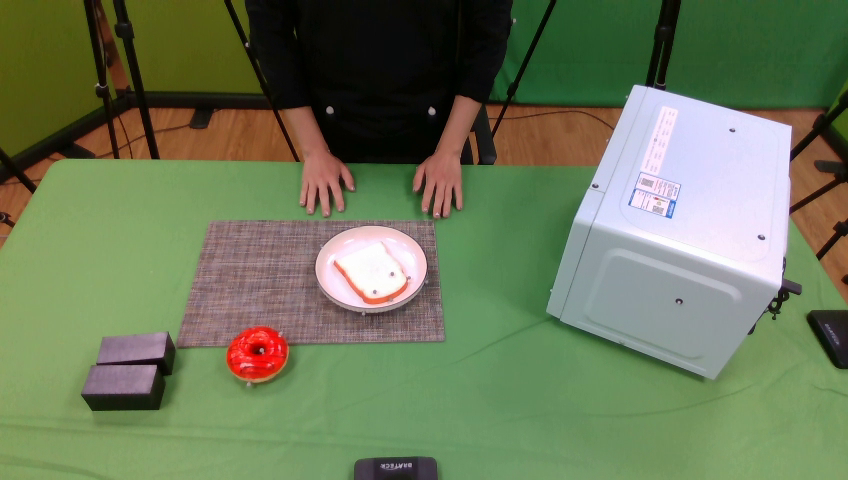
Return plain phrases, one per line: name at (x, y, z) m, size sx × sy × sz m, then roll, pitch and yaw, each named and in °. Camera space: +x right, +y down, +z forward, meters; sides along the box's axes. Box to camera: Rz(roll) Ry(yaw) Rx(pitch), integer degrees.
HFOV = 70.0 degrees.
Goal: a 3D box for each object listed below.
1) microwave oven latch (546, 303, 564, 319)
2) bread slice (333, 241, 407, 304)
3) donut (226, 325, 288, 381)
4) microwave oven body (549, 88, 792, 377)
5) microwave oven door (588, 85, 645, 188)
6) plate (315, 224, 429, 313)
microwave oven latch at (0.242, 0.102, 1.081) m, size 0.030 × 0.029 × 0.079 m, roll 21°, pitch 48°, yaw 17°
bread slice at (-0.092, 0.060, 1.117) m, size 0.105 × 0.019 × 0.130 m, roll -24°, pitch 52°, yaw -24°
donut at (-0.270, 0.182, 0.984) m, size 0.099 × 0.048 × 0.098 m, roll 5°, pitch 49°, yaw -5°
microwave oven body at (0.456, -0.028, 1.088) m, size 0.325 × 0.261 × 0.440 m, roll 20°, pitch 47°, yaw 16°
microwave oven door at (0.342, -0.107, 1.149) m, size 0.039 × 0.245 × 0.354 m, roll 20°, pitch 48°, yaw 15°
plate at (-0.096, 0.055, 1.121) m, size 0.208 × 0.039 × 0.206 m, roll 2°, pitch 46°, yaw -2°
